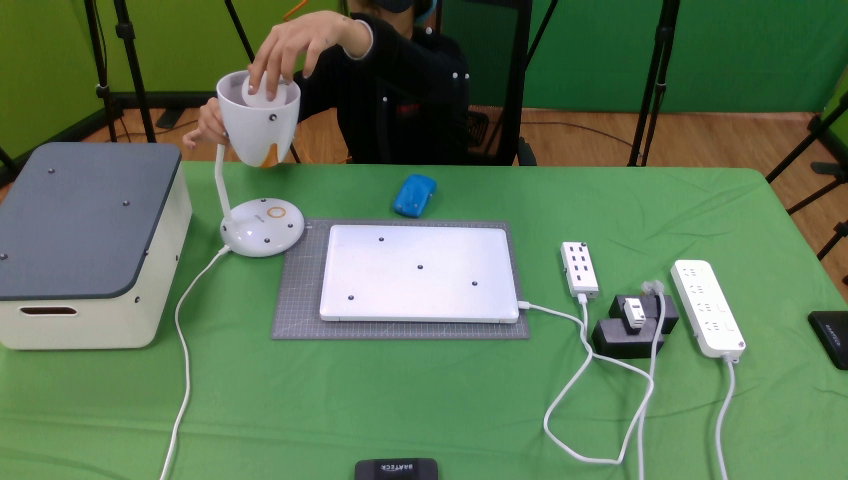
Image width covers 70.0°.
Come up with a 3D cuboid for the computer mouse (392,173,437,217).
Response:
[{"bbox_3d":[-0.018,-0.098,1.282,0.062,0.041,0.117,20,51,13],"label":"computer mouse"}]

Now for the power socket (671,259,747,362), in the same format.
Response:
[{"bbox_3d":[0.516,0.119,1.108,0.072,0.033,0.225,1,46,-2],"label":"power socket"}]

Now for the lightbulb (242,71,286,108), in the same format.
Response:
[{"bbox_3d":[-0.229,-0.186,0.859,0.059,0.108,0.059,11,34,-7],"label":"lightbulb"}]

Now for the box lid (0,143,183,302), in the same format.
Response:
[{"bbox_3d":[-0.567,-0.045,0.999,0.263,0.015,0.369,-1,46,-4],"label":"box lid"}]

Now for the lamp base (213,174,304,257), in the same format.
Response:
[{"bbox_3d":[-0.324,-0.074,1.135,0.160,0.181,0.179,28,53,24],"label":"lamp base"}]

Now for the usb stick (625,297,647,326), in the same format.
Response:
[{"bbox_3d":[0.360,0.116,1.034,0.021,0.027,0.059,-2,44,-2],"label":"usb stick"}]

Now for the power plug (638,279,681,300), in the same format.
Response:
[{"bbox_3d":[0.434,0.099,1.119,0.073,0.053,0.035,34,38,-16],"label":"power plug"}]

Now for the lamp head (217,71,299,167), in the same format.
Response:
[{"bbox_3d":[-0.240,-0.170,0.876,0.112,0.123,0.111,9,45,-9],"label":"lamp head"}]

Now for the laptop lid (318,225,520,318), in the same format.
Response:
[{"bbox_3d":[-0.009,0.052,1.131,0.357,0.013,0.240,2,43,-2],"label":"laptop lid"}]

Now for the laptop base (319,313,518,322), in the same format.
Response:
[{"bbox_3d":[-0.009,0.062,1.137,0.354,0.023,0.234,1,42,-3],"label":"laptop base"}]

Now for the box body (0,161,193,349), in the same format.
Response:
[{"bbox_3d":[-0.570,0.006,1.054,0.254,0.161,0.361,-1,46,-4],"label":"box body"}]

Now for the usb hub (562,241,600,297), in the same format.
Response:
[{"bbox_3d":[0.300,0.054,1.162,0.049,0.025,0.124,3,46,-3],"label":"usb hub"}]
